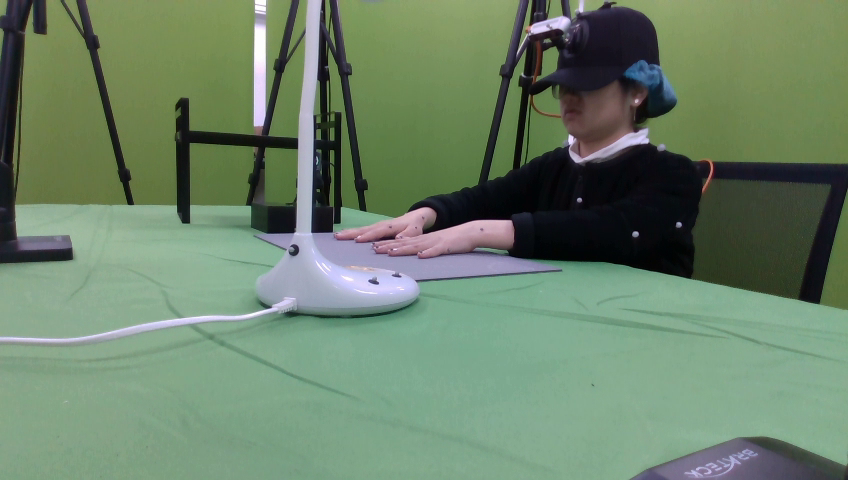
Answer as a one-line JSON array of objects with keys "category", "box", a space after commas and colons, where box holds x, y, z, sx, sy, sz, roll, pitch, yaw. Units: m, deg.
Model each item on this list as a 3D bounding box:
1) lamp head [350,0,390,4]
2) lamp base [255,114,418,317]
[{"category": "lamp head", "box": [-0.053, -0.313, 0.597, 0.112, 0.112, 0.123, 6, -28, 25]}, {"category": "lamp base", "box": [-0.086, -0.027, 0.577, 0.160, 0.180, 0.179, 4, 10, 16]}]
